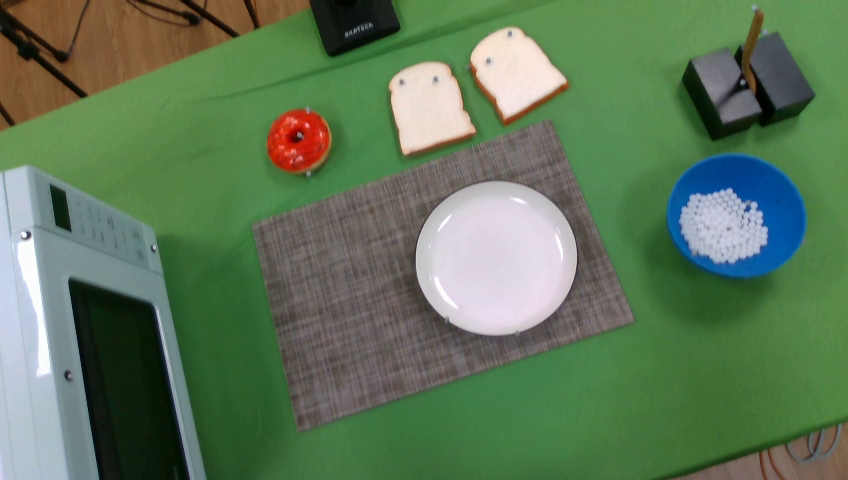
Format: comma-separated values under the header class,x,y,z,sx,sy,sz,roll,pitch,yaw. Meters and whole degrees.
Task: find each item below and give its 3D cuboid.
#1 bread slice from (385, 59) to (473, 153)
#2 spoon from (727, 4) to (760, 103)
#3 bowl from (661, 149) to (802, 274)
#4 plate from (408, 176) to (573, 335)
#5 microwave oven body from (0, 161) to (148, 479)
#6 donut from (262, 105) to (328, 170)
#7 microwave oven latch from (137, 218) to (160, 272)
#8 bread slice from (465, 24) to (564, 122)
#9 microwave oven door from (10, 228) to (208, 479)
class,x,y,z,sx,sy,sz,roll,pitch,yaw
bread slice,-0.002,-0.195,0.868,0.107,0.018,0.133,-20,74,3
spoon,0.378,-0.216,0.717,0.021,0.195,0.041,-22,70,18
bowl,0.358,-0.024,0.729,0.151,0.077,0.150,-2,74,9
plate,0.085,0.021,0.780,0.207,0.039,0.206,-2,75,9
microwave oven body,-0.494,0.195,0.713,0.326,0.262,0.438,-21,73,3
donut,-0.186,-0.148,0.872,0.099,0.048,0.098,-3,75,11
microwave oven latch,-0.395,0.010,0.849,0.030,0.030,0.078,-21,73,3
bread slice,0.119,-0.245,0.862,0.105,0.019,0.130,-32,73,-1
microwave oven door,-0.345,0.179,0.687,0.039,0.245,0.353,-21,72,4
